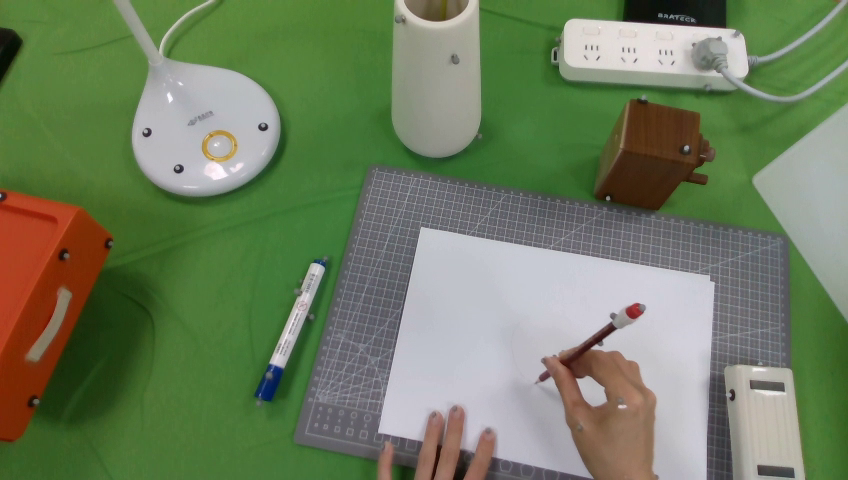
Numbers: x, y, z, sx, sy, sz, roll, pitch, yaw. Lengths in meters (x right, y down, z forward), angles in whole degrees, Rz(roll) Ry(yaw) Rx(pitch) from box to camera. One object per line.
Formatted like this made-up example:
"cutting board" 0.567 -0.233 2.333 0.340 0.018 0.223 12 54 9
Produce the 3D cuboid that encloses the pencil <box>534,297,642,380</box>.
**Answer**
"pencil" 0.124 0.087 0.492 0.012 0.195 0.012 5 61 -10

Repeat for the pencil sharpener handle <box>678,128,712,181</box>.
"pencil sharpener handle" 0.271 -0.080 0.595 0.030 0.068 0.036 12 67 5

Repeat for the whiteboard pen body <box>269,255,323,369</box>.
"whiteboard pen body" -0.128 0.078 0.591 0.017 0.017 0.140 14 65 6

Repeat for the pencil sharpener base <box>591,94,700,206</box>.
"pencil sharpener base" 0.221 -0.087 0.611 0.076 0.108 0.061 12 68 5

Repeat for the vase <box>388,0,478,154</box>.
"vase" 0.007 -0.169 0.595 0.098 0.201 0.097 -1 67 2

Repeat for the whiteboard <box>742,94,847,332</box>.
"whiteboard" 0.493 -0.065 0.528 0.144 0.307 0.215 -13 67 -25

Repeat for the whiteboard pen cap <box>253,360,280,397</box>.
"whiteboard pen cap" -0.146 0.129 0.566 0.018 0.018 0.033 15 63 7

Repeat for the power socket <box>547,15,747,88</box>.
"power socket" 0.259 -0.219 0.703 0.227 0.033 0.071 5 69 2

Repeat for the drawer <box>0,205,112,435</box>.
"drawer" -0.418 0.045 0.525 0.211 0.074 0.193 13 70 5

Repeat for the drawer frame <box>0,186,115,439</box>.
"drawer frame" -0.424 0.046 0.528 0.213 0.083 0.200 13 70 3

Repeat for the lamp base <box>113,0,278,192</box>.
"lamp base" -0.253 -0.163 0.603 0.160 0.181 0.178 -43 71 -16

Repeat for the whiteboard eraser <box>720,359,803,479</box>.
"whiteboard eraser" 0.300 0.165 0.543 0.055 0.042 0.112 5 68 1

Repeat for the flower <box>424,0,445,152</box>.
"flower" 0.017 -0.216 0.525 0.038 0.364 0.043 -2 50 -8

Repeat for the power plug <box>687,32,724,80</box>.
"power plug" 0.307 -0.197 0.670 0.035 0.053 0.072 14 70 7
